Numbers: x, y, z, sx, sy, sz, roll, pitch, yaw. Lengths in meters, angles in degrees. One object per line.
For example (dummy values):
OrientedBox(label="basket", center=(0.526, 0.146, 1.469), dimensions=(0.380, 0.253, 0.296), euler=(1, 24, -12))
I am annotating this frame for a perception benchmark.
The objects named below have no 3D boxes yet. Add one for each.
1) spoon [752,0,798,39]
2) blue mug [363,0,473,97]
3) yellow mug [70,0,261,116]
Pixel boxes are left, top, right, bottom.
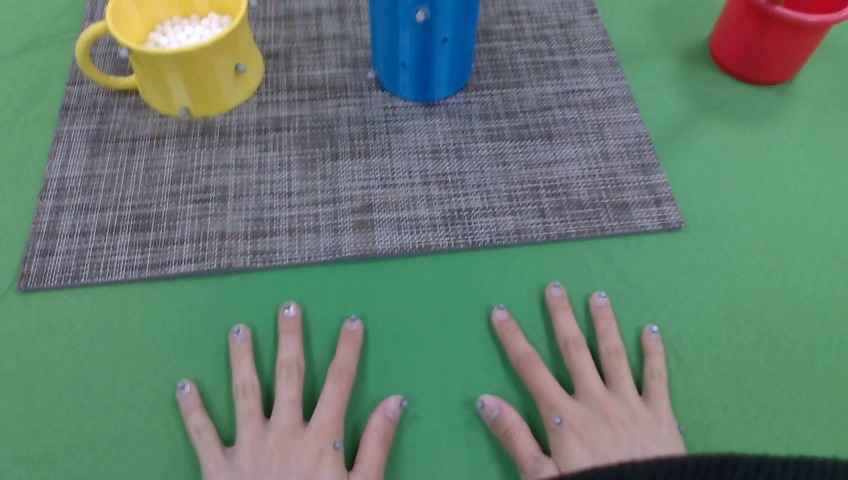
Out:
OrientedBox(label="spoon", center=(0.259, -0.185, 0.459), dimensions=(0.041, 0.022, 0.195), euler=(48, 24, 25))
OrientedBox(label="blue mug", center=(0.005, -0.186, 0.467), dimensions=(0.082, 0.106, 0.116), euler=(33, 62, 17))
OrientedBox(label="yellow mug", center=(-0.197, -0.149, 0.458), dimensions=(0.131, 0.064, 0.099), euler=(-19, 61, -12))
